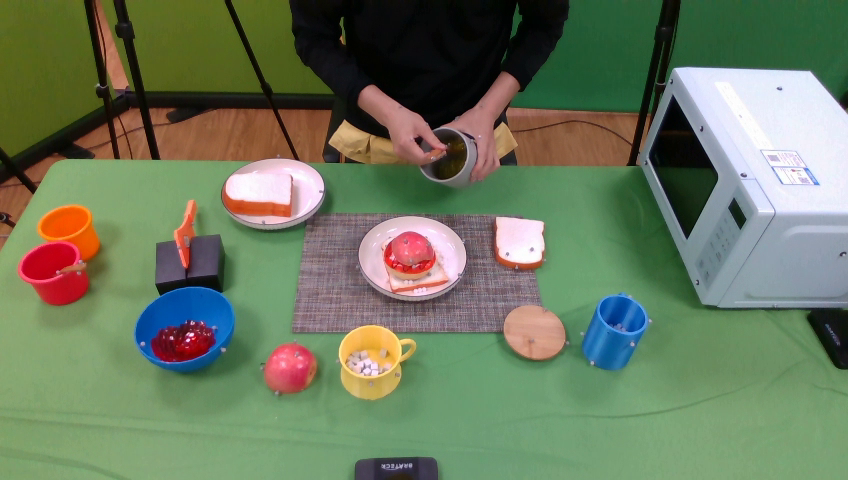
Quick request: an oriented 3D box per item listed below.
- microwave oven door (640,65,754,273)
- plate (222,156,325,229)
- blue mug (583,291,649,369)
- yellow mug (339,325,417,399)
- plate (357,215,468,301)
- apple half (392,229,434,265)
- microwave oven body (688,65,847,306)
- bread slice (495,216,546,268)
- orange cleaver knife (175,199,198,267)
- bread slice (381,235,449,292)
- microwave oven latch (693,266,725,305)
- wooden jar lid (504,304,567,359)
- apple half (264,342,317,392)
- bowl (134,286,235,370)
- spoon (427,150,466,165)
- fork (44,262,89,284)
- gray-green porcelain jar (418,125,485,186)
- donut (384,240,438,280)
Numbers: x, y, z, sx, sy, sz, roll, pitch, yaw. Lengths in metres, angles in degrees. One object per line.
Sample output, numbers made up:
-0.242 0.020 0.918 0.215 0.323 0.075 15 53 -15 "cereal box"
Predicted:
0.523 -0.147 1.193 0.039 0.245 0.353 0 47 -3 "microwave oven door"
-0.308 -0.095 1.251 0.209 0.038 0.208 2 47 -2 "plate"
0.324 0.142 1.023 0.082 0.106 0.116 15 47 11 "blue mug"
-0.072 0.190 0.978 0.131 0.064 0.099 -17 50 -20 "yellow mug"
-0.022 0.037 1.141 0.208 0.039 0.206 2 46 -2 "plate"
-0.021 0.004 1.083 0.081 0.033 0.081 7 48 -8 "apple half"
0.669 -0.111 1.176 0.326 0.261 0.439 0 46 -3 "microwave oven body"
0.194 0.002 1.204 0.105 0.019 0.131 5 46 2 "bread slice"
-0.438 -0.017 1.138 0.012 0.077 0.210 -14 27 -7 "orange cleaver knife"
-0.026 0.039 1.140 0.107 0.018 0.133 -12 47 -15 "bread slice"
0.523 0.082 1.115 0.030 0.029 0.078 3 46 0 "microwave oven latch"
0.192 0.161 1.051 0.108 0.021 0.107 2 50 -3 "wooden jar lid"
-0.214 0.198 0.970 0.074 0.053 0.080 19 48 10 "apple half"
-0.377 0.155 0.981 0.151 0.077 0.150 2 46 -2 "bowl"
0.041 -0.159 1.139 0.041 0.021 0.194 33 12 14 "spoon"
-0.598 0.054 1.014 0.207 0.019 0.028 -15 29 45 "fork"
0.059 -0.162 1.187 0.105 0.106 0.127 26 9 20 "gray-green porcelain jar"
-0.025 0.030 1.109 0.099 0.048 0.098 2 46 -2 "donut"
